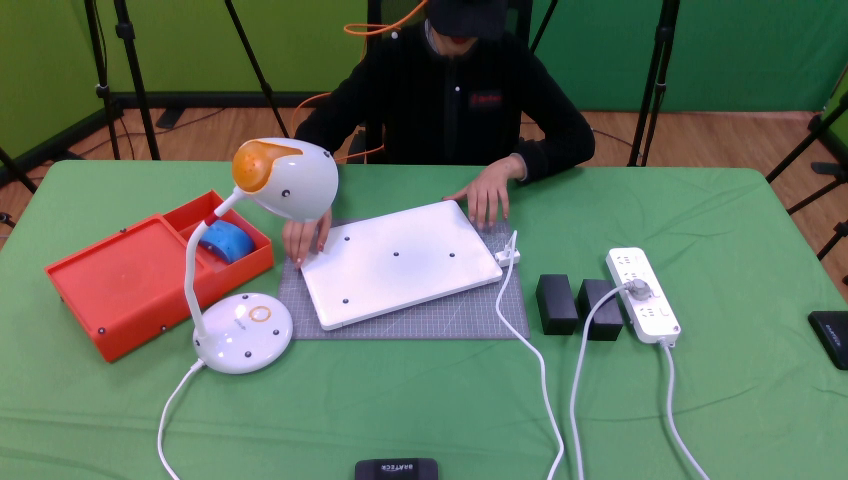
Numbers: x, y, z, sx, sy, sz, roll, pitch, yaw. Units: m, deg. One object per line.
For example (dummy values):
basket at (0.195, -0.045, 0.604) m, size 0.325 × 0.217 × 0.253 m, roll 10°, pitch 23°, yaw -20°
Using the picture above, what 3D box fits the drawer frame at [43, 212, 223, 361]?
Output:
drawer frame at (-0.497, 0.073, 1.049) m, size 0.213 × 0.083 × 0.200 m, roll -34°, pitch 57°, yaw -31°

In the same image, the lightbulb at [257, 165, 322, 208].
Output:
lightbulb at (-0.181, -0.075, 0.809) m, size 0.059 × 0.059 × 0.108 m, roll 35°, pitch 11°, yaw 26°

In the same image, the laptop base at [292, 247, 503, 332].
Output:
laptop base at (-0.054, 0.039, 1.157) m, size 0.355 × 0.023 × 0.234 m, roll -15°, pitch 45°, yaw -17°

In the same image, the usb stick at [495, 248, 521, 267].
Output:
usb stick at (0.153, 0.035, 1.157) m, size 0.059 × 0.027 × 0.021 m, roll -15°, pitch 54°, yaw -13°

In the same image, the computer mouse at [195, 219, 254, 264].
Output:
computer mouse at (-0.380, -0.003, 1.152) m, size 0.116 × 0.041 × 0.062 m, roll 28°, pitch 53°, yaw 28°

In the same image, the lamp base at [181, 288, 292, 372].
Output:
lamp base at (-0.309, 0.108, 0.959) m, size 0.160 × 0.181 × 0.179 m, roll 29°, pitch 55°, yaw 22°

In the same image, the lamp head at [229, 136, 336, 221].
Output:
lamp head at (-0.196, -0.085, 0.791) m, size 0.112 × 0.112 × 0.123 m, roll 36°, pitch 14°, yaw 27°

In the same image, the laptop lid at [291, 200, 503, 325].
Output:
laptop lid at (-0.055, 0.029, 1.150) m, size 0.357 × 0.013 × 0.240 m, roll -13°, pitch 46°, yaw -16°

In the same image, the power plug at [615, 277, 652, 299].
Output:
power plug at (0.375, 0.088, 1.096) m, size 0.072 × 0.053 × 0.035 m, roll 6°, pitch 46°, yaw 2°

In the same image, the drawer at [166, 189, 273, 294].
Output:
drawer at (-0.419, 0.021, 1.108) m, size 0.193 × 0.073 × 0.211 m, roll 37°, pitch 55°, yaw 27°

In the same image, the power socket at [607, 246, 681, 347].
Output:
power socket at (0.403, 0.096, 1.123) m, size 0.072 × 0.033 × 0.225 m, roll -3°, pitch 47°, yaw -5°
